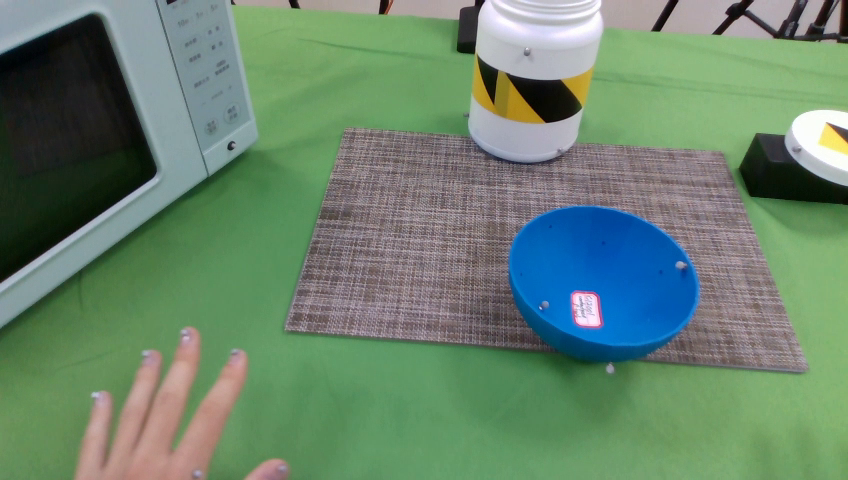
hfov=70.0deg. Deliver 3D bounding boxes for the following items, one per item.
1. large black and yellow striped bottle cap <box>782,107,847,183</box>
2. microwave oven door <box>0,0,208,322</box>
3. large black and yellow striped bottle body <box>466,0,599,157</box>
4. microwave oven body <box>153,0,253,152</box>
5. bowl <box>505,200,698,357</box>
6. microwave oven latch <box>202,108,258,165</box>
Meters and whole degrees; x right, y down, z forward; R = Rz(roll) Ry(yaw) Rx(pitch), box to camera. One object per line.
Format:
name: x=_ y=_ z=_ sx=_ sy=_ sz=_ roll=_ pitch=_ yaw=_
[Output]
large black and yellow striped bottle cap: x=0.443 y=-0.102 z=0.641 sx=0.115 sy=0.019 sz=0.114 roll=1 pitch=46 yaw=0
microwave oven door: x=-0.331 y=-0.053 z=0.450 sx=0.039 sy=0.246 sz=0.354 roll=25 pitch=51 yaw=21
large black and yellow striped bottle body: x=0.117 y=-0.200 z=0.668 sx=0.131 sy=0.185 sz=0.129 roll=2 pitch=43 yaw=-1
microwave oven body: x=-0.432 y=-0.133 z=0.528 sx=0.324 sy=0.262 sz=0.440 roll=26 pitch=52 yaw=20
bowl: x=0.139 y=0.044 z=0.511 sx=0.151 sy=0.077 sz=0.150 roll=1 pitch=47 yaw=-1
microwave oven latch: x=-0.215 y=-0.115 z=0.654 sx=0.030 sy=0.030 sz=0.079 roll=27 pitch=52 yaw=21
